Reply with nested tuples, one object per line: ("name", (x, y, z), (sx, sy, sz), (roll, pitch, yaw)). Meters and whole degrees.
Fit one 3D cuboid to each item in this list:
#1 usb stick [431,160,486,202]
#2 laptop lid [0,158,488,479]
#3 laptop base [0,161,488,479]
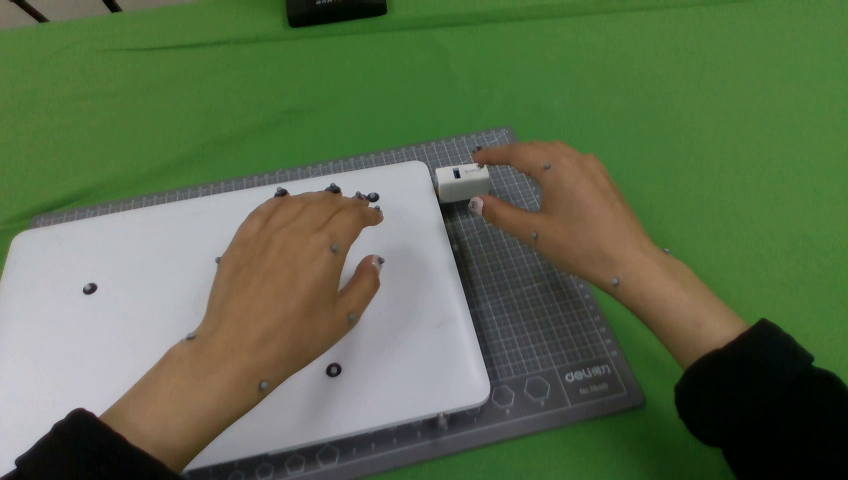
("usb stick", (0.022, -0.050, 0.521), (0.059, 0.027, 0.021), (-11, 52, -3))
("laptop lid", (-0.150, 0.048, 0.452), (0.357, 0.013, 0.239), (-10, 53, -5))
("laptop base", (-0.150, 0.054, 0.463), (0.355, 0.023, 0.233), (-11, 55, -6))
